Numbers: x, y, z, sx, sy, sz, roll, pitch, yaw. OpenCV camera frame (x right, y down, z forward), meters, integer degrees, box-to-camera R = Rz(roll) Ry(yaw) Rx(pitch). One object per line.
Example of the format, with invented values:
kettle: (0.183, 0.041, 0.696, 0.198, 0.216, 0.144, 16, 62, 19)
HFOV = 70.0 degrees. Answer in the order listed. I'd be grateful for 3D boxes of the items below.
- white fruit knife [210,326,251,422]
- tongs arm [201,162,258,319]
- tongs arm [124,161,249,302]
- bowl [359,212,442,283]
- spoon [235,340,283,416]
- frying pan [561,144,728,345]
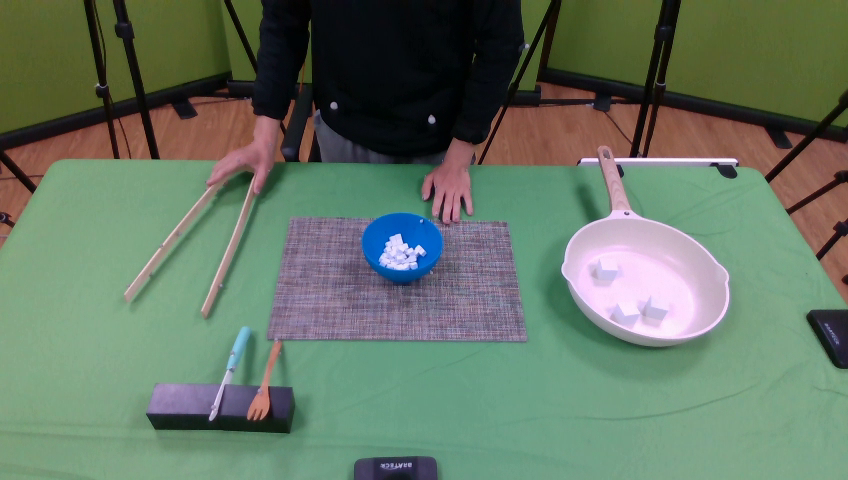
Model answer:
white fruit knife: (-0.300, 0.201, 0.941, 0.016, 0.027, 0.206, -2, 32, 1)
tongs arm: (-0.371, -0.013, 1.169, 0.028, 0.028, 0.385, 2, 48, 2)
tongs arm: (-0.446, -0.029, 1.172, 0.051, 0.026, 0.383, 14, 48, 7)
bowl: (-0.044, 0.026, 1.125, 0.151, 0.077, 0.150, 2, 46, -2)
spoon: (-0.244, 0.207, 0.932, 0.042, 0.022, 0.193, 27, 25, -8)
frying pan: (0.397, -0.008, 1.179, 0.307, 0.103, 0.485, 2, 55, -4)
